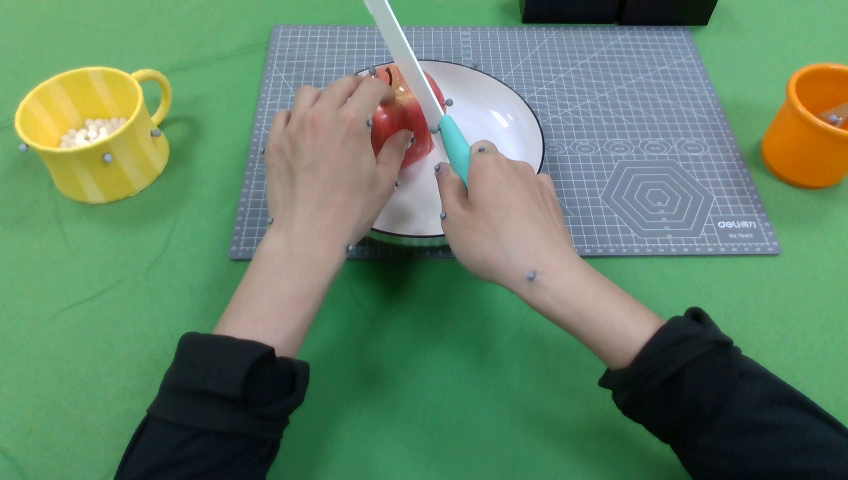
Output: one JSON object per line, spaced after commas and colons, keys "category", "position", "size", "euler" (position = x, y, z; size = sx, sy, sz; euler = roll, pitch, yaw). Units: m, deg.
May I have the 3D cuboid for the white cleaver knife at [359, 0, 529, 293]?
{"category": "white cleaver knife", "position": [0.007, -0.091, 0.453], "size": [0.021, 0.066, 0.285], "euler": [-24, 79, -6]}

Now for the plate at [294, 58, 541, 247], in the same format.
{"category": "plate", "position": [-0.006, -0.077, 0.526], "size": [0.209, 0.038, 0.207], "euler": [1, 56, -1]}

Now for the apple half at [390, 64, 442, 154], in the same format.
{"category": "apple half", "position": [-0.003, -0.114, 0.517], "size": [0.033, 0.082, 0.080], "euler": [-24, 59, -12]}

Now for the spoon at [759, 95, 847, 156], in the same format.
{"category": "spoon", "position": [0.380, -0.128, 0.506], "size": [0.022, 0.194, 0.041], "euler": [28, 41, -36]}

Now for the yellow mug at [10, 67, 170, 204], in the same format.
{"category": "yellow mug", "position": [-0.272, -0.099, 0.521], "size": [0.099, 0.064, 0.130], "euler": [29, 59, 17]}

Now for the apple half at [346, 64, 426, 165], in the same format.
{"category": "apple half", "position": [-0.037, -0.099, 0.508], "size": [0.053, 0.075, 0.080], "euler": [-25, 66, -9]}
